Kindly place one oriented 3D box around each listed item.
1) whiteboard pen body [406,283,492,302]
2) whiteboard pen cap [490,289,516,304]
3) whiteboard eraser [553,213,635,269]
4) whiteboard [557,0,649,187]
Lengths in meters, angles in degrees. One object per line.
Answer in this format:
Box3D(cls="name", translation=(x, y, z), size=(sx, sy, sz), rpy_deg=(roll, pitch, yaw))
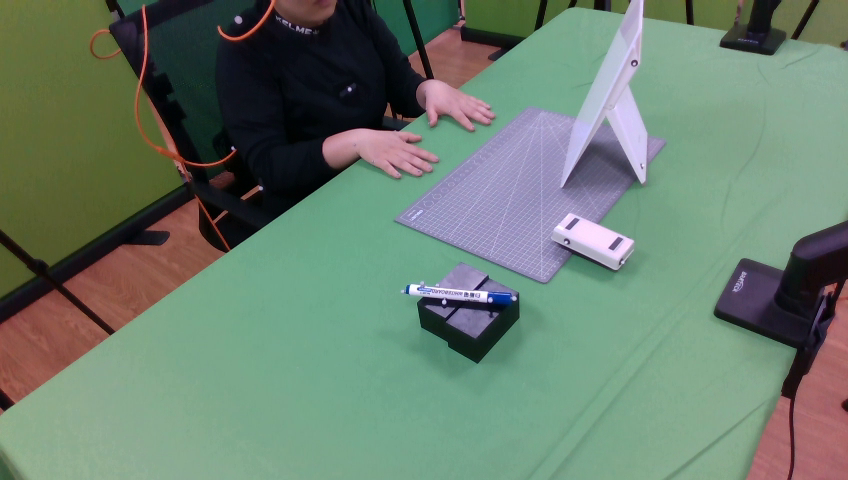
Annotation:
Box3D(cls="whiteboard pen body", translation=(0.044, 0.072, 0.812), size=(0.140, 0.017, 0.017), rpy_deg=(4, 42, 14))
Box3D(cls="whiteboard pen cap", translation=(0.105, 0.074, 0.798), size=(0.033, 0.018, 0.018), rpy_deg=(-8, 37, -28))
Box3D(cls="whiteboard eraser", translation=(0.257, 0.003, 0.918), size=(0.112, 0.042, 0.056), rpy_deg=(27, 49, 30))
Box3D(cls="whiteboard", translation=(0.361, -0.238, 1.026), size=(0.144, 0.306, 0.217), rpy_deg=(21, 45, 4))
